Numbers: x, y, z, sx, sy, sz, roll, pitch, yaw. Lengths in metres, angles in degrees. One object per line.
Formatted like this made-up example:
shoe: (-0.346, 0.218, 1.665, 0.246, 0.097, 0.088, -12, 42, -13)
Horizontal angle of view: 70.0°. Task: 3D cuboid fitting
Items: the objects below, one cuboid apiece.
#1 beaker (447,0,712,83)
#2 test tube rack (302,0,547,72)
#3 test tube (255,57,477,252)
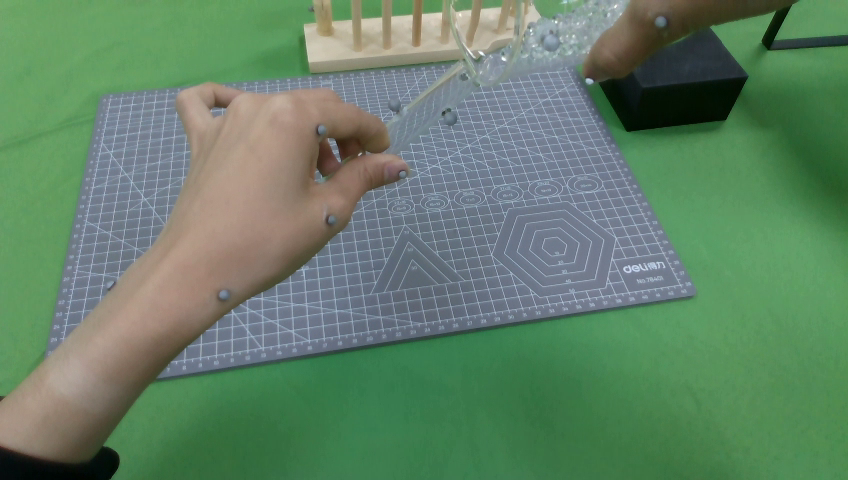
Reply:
beaker: (0.067, -0.113, 0.264, 0.100, 0.084, 0.073, -15, 60, -14)
test tube rack: (0.001, -0.231, 0.592, 0.243, 0.086, 0.066, -8, 53, -8)
test tube: (-0.035, -0.039, 0.309, 0.150, 0.017, 0.017, -37, 51, 21)
